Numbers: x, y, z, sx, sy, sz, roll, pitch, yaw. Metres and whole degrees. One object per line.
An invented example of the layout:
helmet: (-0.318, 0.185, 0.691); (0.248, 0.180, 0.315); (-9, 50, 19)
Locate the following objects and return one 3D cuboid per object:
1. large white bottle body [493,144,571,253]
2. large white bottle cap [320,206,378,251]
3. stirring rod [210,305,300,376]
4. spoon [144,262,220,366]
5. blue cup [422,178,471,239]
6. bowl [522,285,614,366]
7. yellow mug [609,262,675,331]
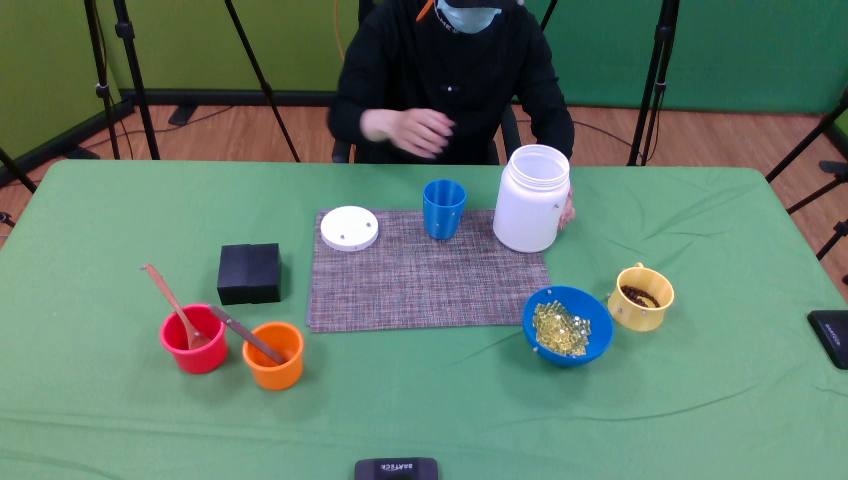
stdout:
large white bottle body: (0.209, -0.081, 1.171); (0.131, 0.185, 0.130); (2, 46, -1)
large white bottle cap: (-0.150, -0.024, 1.206); (0.115, 0.018, 0.114); (2, 46, -2)
stirring rod: (-0.262, 0.158, 0.946); (0.177, 0.006, 0.014); (43, 43, -21)
spoon: (-0.389, 0.118, 0.970); (0.041, 0.021, 0.194); (-34, 101, -34)
blue cup: (0.036, -0.056, 1.192); (0.093, 0.101, 0.092); (3, 45, -3)
bowl: (0.235, 0.158, 1.022); (0.151, 0.077, 0.150); (2, 46, -2)
yellow mug: (0.393, 0.094, 1.103); (0.100, 0.064, 0.130); (7, 45, 3)
